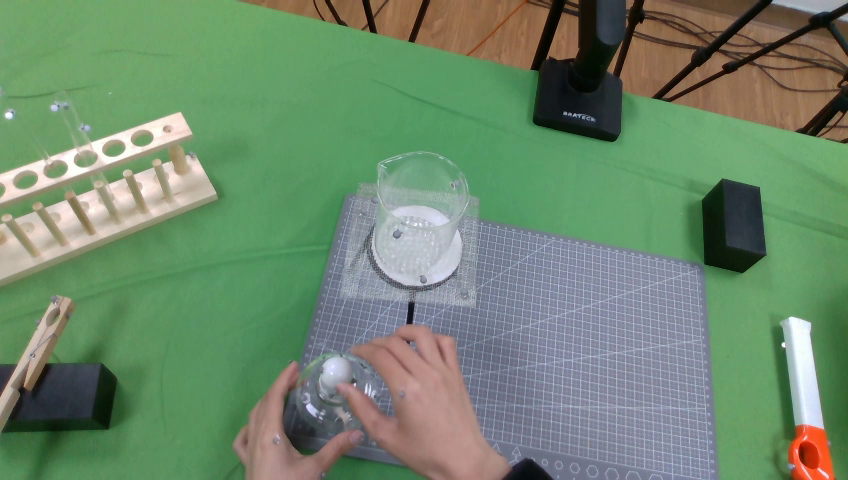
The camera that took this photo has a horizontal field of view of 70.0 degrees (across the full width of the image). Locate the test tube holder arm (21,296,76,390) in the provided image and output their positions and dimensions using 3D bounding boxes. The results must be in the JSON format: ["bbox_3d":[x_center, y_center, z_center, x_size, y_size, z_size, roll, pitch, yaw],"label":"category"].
[{"bbox_3d":[-0.347,0.093,0.555,0.010,0.015,0.087,14,60,0],"label":"test tube holder arm"}]

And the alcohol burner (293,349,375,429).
[{"bbox_3d":[-0.083,0.134,0.568,0.078,0.120,0.077,5,60,-8],"label":"alcohol burner"}]

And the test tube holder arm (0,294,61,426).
[{"bbox_3d":[-0.361,0.129,0.532,0.013,0.015,0.177,13,60,0],"label":"test tube holder arm"}]

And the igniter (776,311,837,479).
[{"bbox_3d":[0.413,0.206,0.653,0.057,0.025,0.274,17,61,-11],"label":"igniter"}]

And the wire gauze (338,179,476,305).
[{"bbox_3d":[-0.012,0.002,0.564,0.121,0.011,0.124,6,65,-3],"label":"wire gauze"}]

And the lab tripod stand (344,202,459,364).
[{"bbox_3d":[-0.018,0.037,0.619,0.149,0.132,0.147,4,62,-8],"label":"lab tripod stand"}]

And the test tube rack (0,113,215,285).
[{"bbox_3d":[-0.358,-0.045,0.644,0.242,0.086,0.066,-26,68,-20],"label":"test tube rack"}]

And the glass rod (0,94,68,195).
[{"bbox_3d":[-0.380,-0.088,0.588,0.008,0.201,0.008,1,55,-2],"label":"glass rod"}]

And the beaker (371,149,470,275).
[{"bbox_3d":[-0.011,-0.020,0.520,0.083,0.101,0.074,34,63,10],"label":"beaker"}]

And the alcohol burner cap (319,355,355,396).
[{"bbox_3d":[-0.078,0.118,0.535,0.034,0.048,0.033,2,67,-4],"label":"alcohol burner cap"}]

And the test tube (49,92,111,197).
[{"bbox_3d":[-0.346,-0.090,0.614,0.017,0.151,0.017,5,56,-7],"label":"test tube"}]
